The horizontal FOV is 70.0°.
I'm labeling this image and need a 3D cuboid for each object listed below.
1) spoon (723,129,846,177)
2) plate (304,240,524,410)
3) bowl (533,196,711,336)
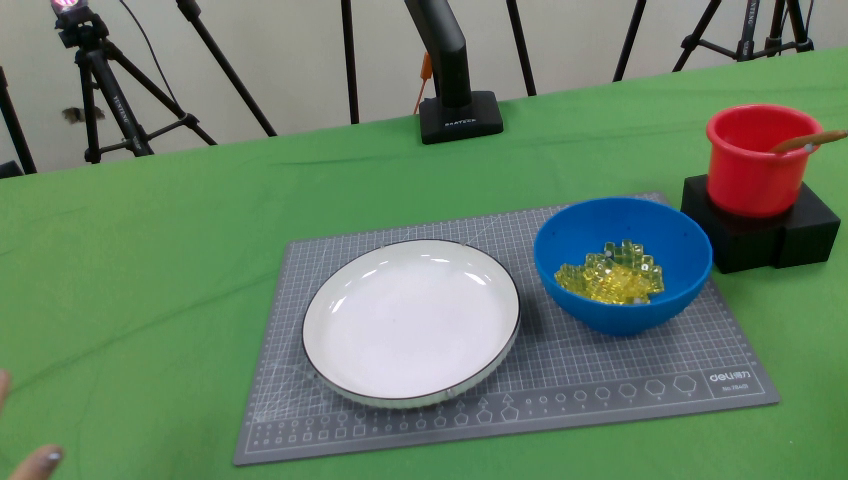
[{"bbox_3d":[0.311,-0.076,0.531,0.041,0.021,0.194,-2,-5,8],"label":"spoon"},{"bbox_3d":[-0.008,0.078,0.579,0.207,0.039,0.205,-7,39,6],"label":"plate"},{"bbox_3d":[0.177,0.034,0.556,0.151,0.077,0.150,-7,39,6],"label":"bowl"}]
